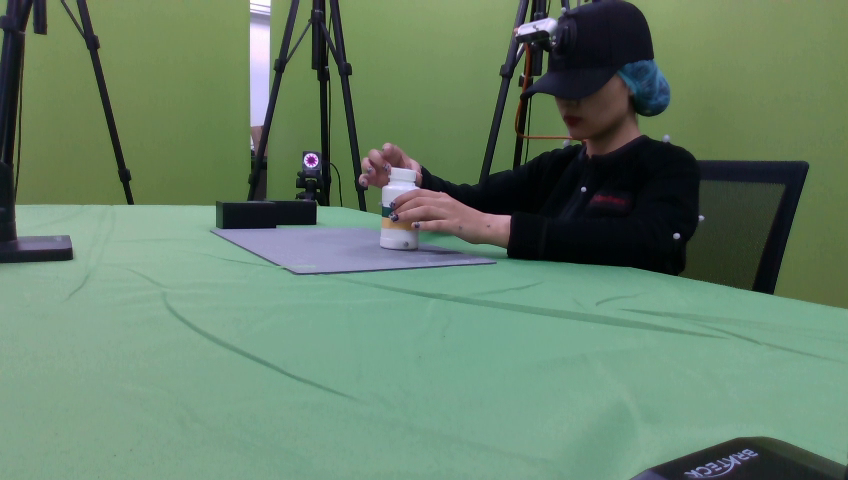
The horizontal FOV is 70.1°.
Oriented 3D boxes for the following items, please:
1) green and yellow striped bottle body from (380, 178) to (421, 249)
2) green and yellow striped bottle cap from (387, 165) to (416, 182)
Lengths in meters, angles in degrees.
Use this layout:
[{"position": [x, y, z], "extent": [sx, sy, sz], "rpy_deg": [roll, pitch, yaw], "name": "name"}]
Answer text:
[{"position": [-0.037, -0.048, 0.959], "extent": [0.063, 0.119, 0.063], "rpy_deg": [3, 7, 0], "name": "green and yellow striped bottle body"}, {"position": [-0.036, -0.104, 0.953], "extent": [0.045, 0.020, 0.045], "rpy_deg": [12, 5, -1], "name": "green and yellow striped bottle cap"}]
